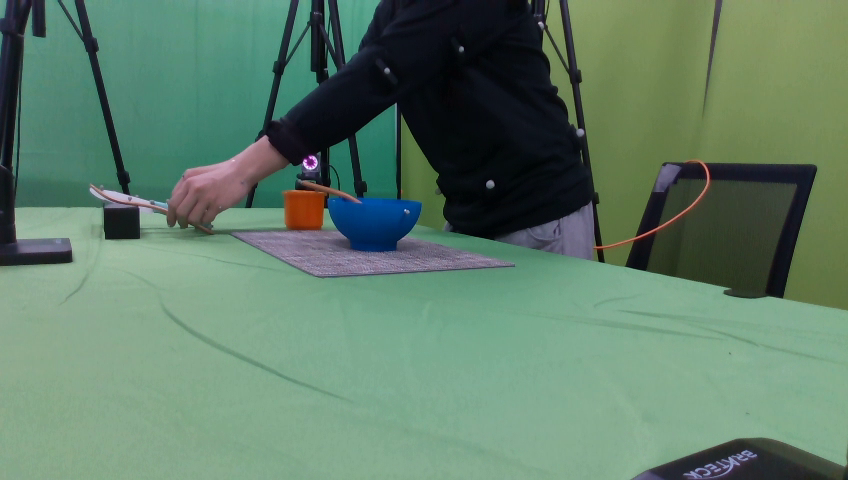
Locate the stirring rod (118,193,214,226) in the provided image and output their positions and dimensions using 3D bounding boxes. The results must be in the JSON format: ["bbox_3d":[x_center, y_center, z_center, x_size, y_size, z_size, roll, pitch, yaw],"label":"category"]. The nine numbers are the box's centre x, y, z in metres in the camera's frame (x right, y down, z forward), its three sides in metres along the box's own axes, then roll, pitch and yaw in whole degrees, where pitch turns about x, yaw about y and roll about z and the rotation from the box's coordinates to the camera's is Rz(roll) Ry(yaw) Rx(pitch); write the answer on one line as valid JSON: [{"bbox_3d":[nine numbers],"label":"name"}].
[{"bbox_3d":[-0.484,-0.057,1.143,0.177,0.006,0.014,21,-4,-29],"label":"stirring rod"}]

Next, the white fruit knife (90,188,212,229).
[{"bbox_3d":[-0.478,-0.058,1.073,0.208,0.027,0.016,17,-4,-30],"label":"white fruit knife"}]

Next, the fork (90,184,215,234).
[{"bbox_3d":[-0.452,-0.049,1.018,0.208,0.018,0.028,21,-3,-33],"label":"fork"}]

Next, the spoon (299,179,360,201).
[{"bbox_3d":[-0.123,-0.068,0.993,0.193,0.021,0.042,25,7,17],"label":"spoon"}]

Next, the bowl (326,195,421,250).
[{"bbox_3d":[-0.080,-0.027,0.957,0.151,0.077,0.151,2,7,0],"label":"bowl"}]
